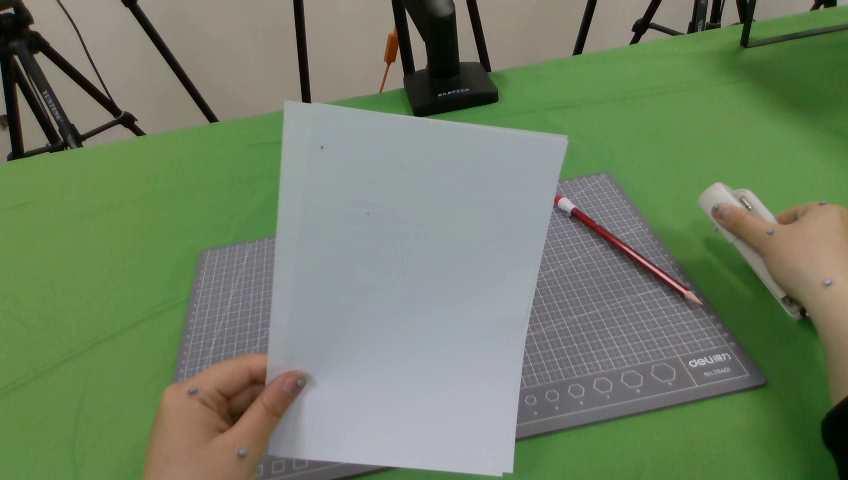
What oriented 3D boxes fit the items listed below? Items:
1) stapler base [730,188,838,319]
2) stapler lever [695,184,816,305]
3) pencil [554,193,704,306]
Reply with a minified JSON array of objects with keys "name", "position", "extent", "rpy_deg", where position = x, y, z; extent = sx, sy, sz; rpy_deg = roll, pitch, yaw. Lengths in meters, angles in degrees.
[{"name":"stapler base","position":[0.284,0.005,0.510],"extent":[0.024,0.041,0.129],"rpy_deg":[15,38,-32]},{"name":"stapler lever","position":[0.266,-0.001,0.495],"extent":[0.040,0.027,0.116],"rpy_deg":[16,37,-32]},{"name":"pencil","position":[0.184,0.004,0.563],"extent":[0.012,0.012,0.192],"rpy_deg":[-24,42,-18]}]
